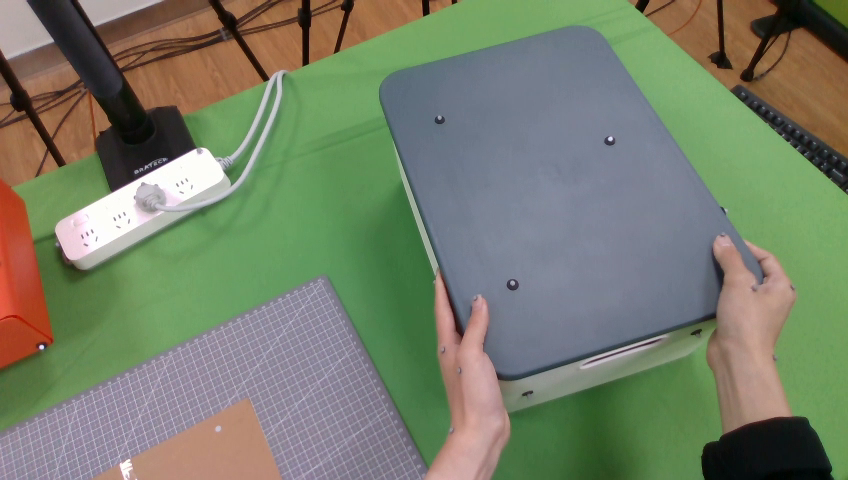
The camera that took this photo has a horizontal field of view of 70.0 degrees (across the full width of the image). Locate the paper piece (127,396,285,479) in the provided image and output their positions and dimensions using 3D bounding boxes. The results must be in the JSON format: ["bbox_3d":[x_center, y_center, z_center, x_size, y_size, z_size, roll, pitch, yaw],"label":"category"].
[{"bbox_3d":[-0.213,0.243,0.601,0.135,0.004,0.134,-26,61,-11],"label":"paper piece"}]

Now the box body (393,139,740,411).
[{"bbox_3d":[0.126,-0.026,0.652,0.254,0.162,0.360,-16,60,-6],"label":"box body"}]

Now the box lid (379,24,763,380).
[{"bbox_3d":[0.121,-0.063,0.588,0.263,0.015,0.367,-17,60,-6],"label":"box lid"}]

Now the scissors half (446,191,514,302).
[{"bbox_3d":[0.072,0.002,0.718,0.040,0.013,0.174,27,58,12],"label":"scissors half"}]

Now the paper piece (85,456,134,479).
[{"bbox_3d":[-0.328,0.302,0.575,0.136,0.009,0.137,-28,63,-9],"label":"paper piece"}]

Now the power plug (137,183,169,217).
[{"bbox_3d":[-0.327,-0.038,0.738,0.035,0.053,0.072,-22,61,-10],"label":"power plug"}]

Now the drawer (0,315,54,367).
[{"bbox_3d":[-0.522,0.057,0.641,0.194,0.074,0.209,-26,60,-10],"label":"drawer"}]

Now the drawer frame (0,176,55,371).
[{"bbox_3d":[-0.524,0.056,0.641,0.202,0.083,0.211,-26,60,-11],"label":"drawer frame"}]

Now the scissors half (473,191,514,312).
[{"bbox_3d":[0.090,0.009,0.716,0.040,0.013,0.174,16,58,-1],"label":"scissors half"}]

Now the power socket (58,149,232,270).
[{"bbox_3d":[-0.350,-0.041,0.768,0.227,0.033,0.071,-32,63,-15],"label":"power socket"}]
